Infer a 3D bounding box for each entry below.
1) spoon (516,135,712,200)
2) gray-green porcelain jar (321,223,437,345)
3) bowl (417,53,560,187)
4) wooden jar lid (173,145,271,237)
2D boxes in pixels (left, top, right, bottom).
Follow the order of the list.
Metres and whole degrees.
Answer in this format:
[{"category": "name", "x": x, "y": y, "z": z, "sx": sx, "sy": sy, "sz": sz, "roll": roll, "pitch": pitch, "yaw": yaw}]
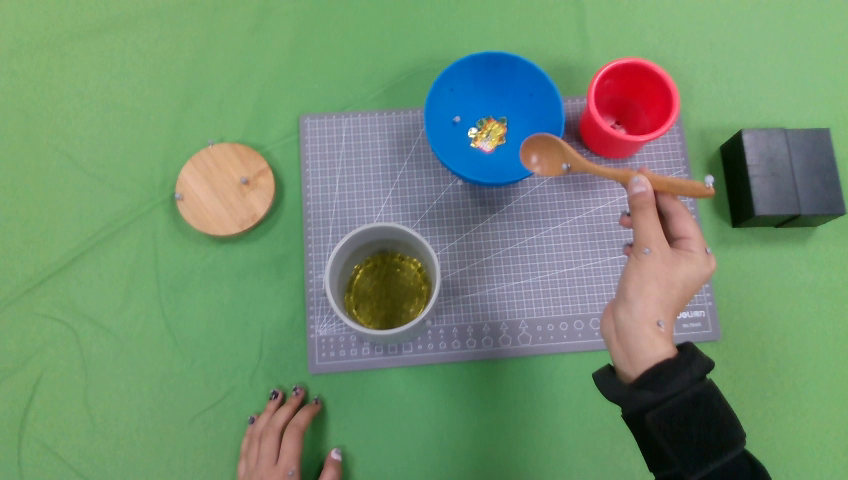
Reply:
[{"category": "spoon", "x": 0.152, "y": -0.058, "z": 0.518, "sx": 0.022, "sy": 0.192, "sz": 0.042, "roll": -16, "pitch": 116, "yaw": -31}, {"category": "gray-green porcelain jar", "x": -0.042, "y": 0.050, "z": 0.607, "sx": 0.106, "sy": 0.127, "sz": 0.105, "roll": 0, "pitch": 76, "yaw": -1}, {"category": "bowl", "x": 0.068, "y": -0.121, "z": 0.674, "sx": 0.151, "sy": 0.077, "sz": 0.150, "roll": 0, "pitch": 76, "yaw": -1}, {"category": "wooden jar lid", "x": -0.227, "y": -0.054, "z": 0.685, "sx": 0.108, "sy": 0.021, "sz": 0.108, "roll": 0, "pitch": 76, "yaw": 0}]
